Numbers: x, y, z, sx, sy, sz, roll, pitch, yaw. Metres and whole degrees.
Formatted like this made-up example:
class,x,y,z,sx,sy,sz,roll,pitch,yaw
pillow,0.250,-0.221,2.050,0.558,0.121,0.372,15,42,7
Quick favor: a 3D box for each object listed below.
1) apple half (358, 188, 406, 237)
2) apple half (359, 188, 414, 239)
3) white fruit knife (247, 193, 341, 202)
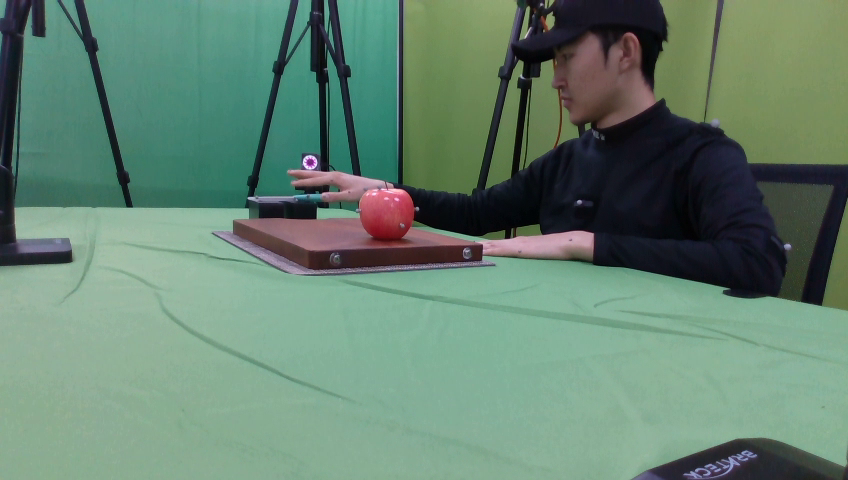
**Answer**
class,x,y,z,sx,sy,sz,roll,pitch,yaw
apple half,-0.068,-0.043,0.904,0.082,0.081,0.032,-2,10,-29
apple half,-0.049,-0.037,0.870,0.081,0.074,0.053,3,10,-30
white fruit knife,-0.271,-0.088,1.283,0.208,0.016,0.027,-3,-20,-31
